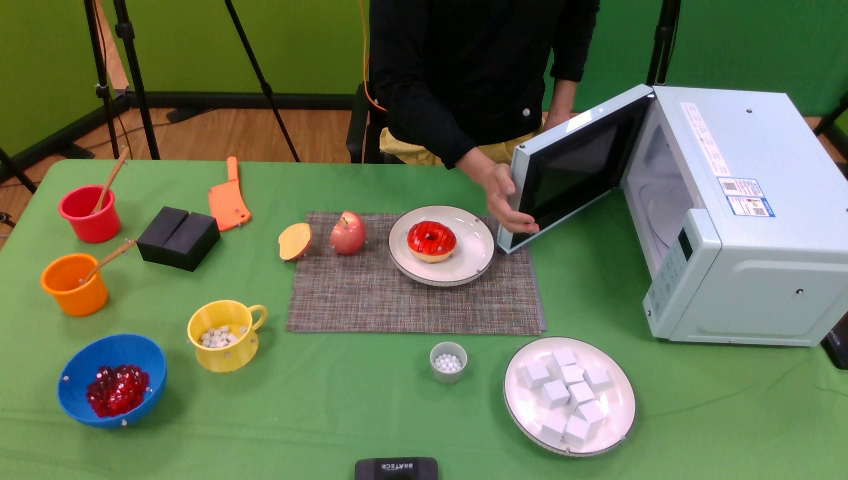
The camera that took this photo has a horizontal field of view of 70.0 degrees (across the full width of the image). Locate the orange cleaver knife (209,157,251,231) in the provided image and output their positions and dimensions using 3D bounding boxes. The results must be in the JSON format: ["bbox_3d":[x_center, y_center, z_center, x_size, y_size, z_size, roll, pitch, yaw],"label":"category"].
[{"bbox_3d":[-0.409,-0.099,1.266,0.077,0.012,0.210,-14,50,-9],"label":"orange cleaver knife"}]

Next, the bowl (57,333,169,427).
[{"bbox_3d":[-0.456,0.223,0.912,0.151,0.077,0.150,3,45,-2],"label":"bowl"}]

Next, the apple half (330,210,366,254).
[{"bbox_3d":[-0.139,-0.009,1.157,0.053,0.075,0.080,17,43,8],"label":"apple half"}]

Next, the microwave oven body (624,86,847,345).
[{"bbox_3d":[0.567,-0.053,1.118,0.326,0.261,0.439,2,45,-1],"label":"microwave oven body"}]

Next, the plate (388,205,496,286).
[{"bbox_3d":[0.033,0.014,1.171,0.209,0.038,0.208,3,46,-2],"label":"plate"}]

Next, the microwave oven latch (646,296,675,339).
[{"bbox_3d":[0.412,0.134,1.061,0.030,0.029,0.078,4,45,1],"label":"microwave oven latch"}]

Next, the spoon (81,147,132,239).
[{"bbox_3d":[-0.603,-0.089,1.156,0.041,0.022,0.193,28,95,19],"label":"spoon"}]

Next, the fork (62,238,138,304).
[{"bbox_3d":[-0.547,0.053,1.019,0.207,0.019,0.028,-36,41,23],"label":"fork"}]

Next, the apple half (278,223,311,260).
[{"bbox_3d":[-0.241,0.007,1.157,0.081,0.033,0.081,-17,54,24],"label":"apple half"}]

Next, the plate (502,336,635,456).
[{"bbox_3d":[0.225,0.248,0.964,0.208,0.039,0.206,2,46,-2],"label":"plate"}]

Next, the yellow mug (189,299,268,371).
[{"bbox_3d":[-0.316,0.148,1.002,0.131,0.064,0.099,-33,56,-31],"label":"yellow mug"}]

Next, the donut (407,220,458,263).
[{"bbox_3d":[0.016,0.002,1.166,0.099,0.048,0.098,3,44,-2],"label":"donut"}]

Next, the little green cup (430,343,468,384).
[{"bbox_3d":[0.039,0.203,0.993,0.061,0.039,0.061,2,46,-2],"label":"little green cup"}]

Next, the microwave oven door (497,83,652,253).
[{"bbox_3d":[0.295,-0.143,1.179,0.356,0.245,0.039,-29,55,-28],"label":"microwave oven door"}]
